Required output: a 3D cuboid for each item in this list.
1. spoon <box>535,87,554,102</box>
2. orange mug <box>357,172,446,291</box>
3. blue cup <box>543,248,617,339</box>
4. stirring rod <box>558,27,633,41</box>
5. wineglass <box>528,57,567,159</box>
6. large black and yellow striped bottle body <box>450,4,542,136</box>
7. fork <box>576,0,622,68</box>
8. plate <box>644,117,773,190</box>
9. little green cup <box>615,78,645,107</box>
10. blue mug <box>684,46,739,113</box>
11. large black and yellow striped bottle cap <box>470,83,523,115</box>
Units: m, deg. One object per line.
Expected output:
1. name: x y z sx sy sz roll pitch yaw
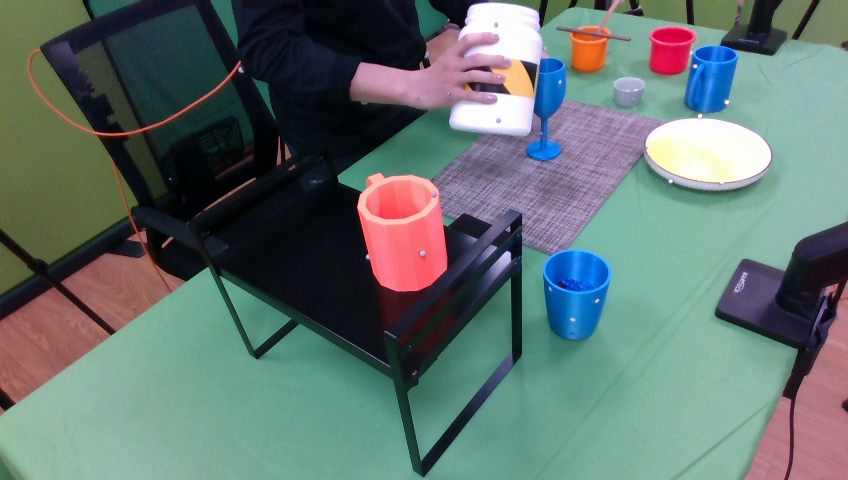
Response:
1. spoon: 0.227 -0.285 1.269 0.041 0.022 0.194 0 35 45
2. orange mug: -0.030 -0.019 0.668 0.084 0.101 0.125 -23 47 -16
3. blue cup: 0.199 0.076 0.797 0.092 0.100 0.092 -4 39 4
4. stirring rod: 0.381 -0.463 1.356 0.175 0.006 0.014 21 47 30
5. wineglass: 0.221 -0.237 1.098 0.074 0.173 0.073 -4 41 4
6. large black and yellow striped bottle body: 0.114 -0.261 0.947 0.131 0.184 0.130 6 10 0
7. fork: 0.409 -0.484 1.381 0.028 0.019 0.207 37 101 46
8. plate: 0.495 -0.148 1.063 0.209 0.038 0.208 -5 40 4
9. little green cup: 0.426 -0.306 1.257 0.061 0.039 0.061 -4 40 4
10. blue mug: 0.556 -0.310 1.190 0.117 0.106 0.081 -32 46 -25
11. large black and yellow striped bottle cap: 0.157 -0.308 1.316 0.115 0.019 0.114 -7 39 6
